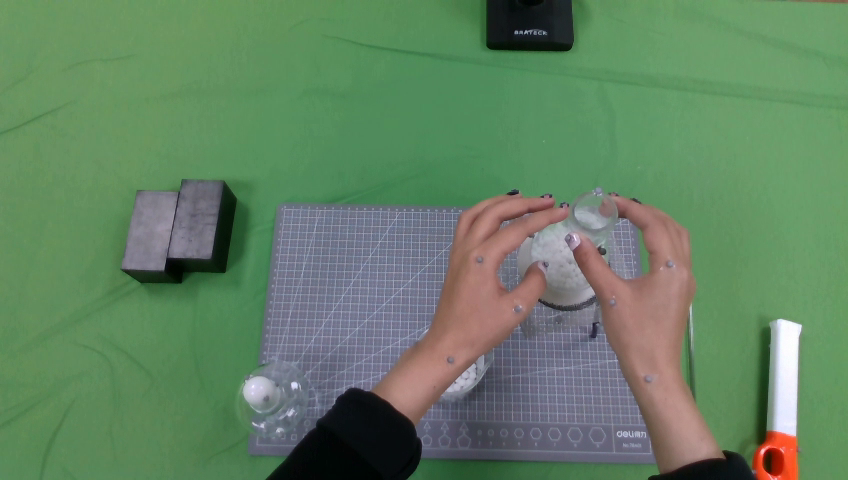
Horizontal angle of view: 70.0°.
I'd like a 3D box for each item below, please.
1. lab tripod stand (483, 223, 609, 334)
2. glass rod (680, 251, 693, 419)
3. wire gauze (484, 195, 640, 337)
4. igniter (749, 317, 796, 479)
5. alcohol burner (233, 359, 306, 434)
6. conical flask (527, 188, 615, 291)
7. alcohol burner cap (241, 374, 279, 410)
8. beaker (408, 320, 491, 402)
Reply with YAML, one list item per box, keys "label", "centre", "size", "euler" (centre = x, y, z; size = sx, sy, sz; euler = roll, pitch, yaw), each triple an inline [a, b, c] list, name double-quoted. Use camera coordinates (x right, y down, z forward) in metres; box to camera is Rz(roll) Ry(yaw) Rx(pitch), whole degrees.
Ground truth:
- label: "lab tripod stand"
  centre: [0.136, 0.049, 0.659]
  size: [0.148, 0.132, 0.147]
  euler: [0, 72, 1]
- label: "glass rod"
  centre: [0.306, 0.106, 0.708]
  size: [0.008, 0.008, 0.198]
  euler: [6, 70, 2]
- label: "wire gauze"
  centre: [0.135, 0.024, 0.596]
  size: [0.125, 0.011, 0.120]
  euler: [-14, 72, -5]
- label: "igniter"
  centre: [0.382, 0.218, 0.658]
  size: [0.057, 0.025, 0.275]
  euler: [16, 71, -5]
- label: "alcohol burner"
  centre: [-0.163, 0.160, 0.628]
  size: [0.078, 0.120, 0.077]
  euler: [1, 71, -1]
- label: "conical flask"
  centre: [0.134, -0.004, 0.531]
  size: [0.075, 0.122, 0.075]
  euler: [-1, 72, 2]
- label: "alcohol burner cap"
  centre: [-0.162, 0.147, 0.594]
  size: [0.034, 0.048, 0.033]
  euler: [2, 68, -5]
- label: "beaker"
  centre: [0.025, 0.132, 0.647]
  size: [0.084, 0.101, 0.073]
  euler: [-4, 70, -2]
